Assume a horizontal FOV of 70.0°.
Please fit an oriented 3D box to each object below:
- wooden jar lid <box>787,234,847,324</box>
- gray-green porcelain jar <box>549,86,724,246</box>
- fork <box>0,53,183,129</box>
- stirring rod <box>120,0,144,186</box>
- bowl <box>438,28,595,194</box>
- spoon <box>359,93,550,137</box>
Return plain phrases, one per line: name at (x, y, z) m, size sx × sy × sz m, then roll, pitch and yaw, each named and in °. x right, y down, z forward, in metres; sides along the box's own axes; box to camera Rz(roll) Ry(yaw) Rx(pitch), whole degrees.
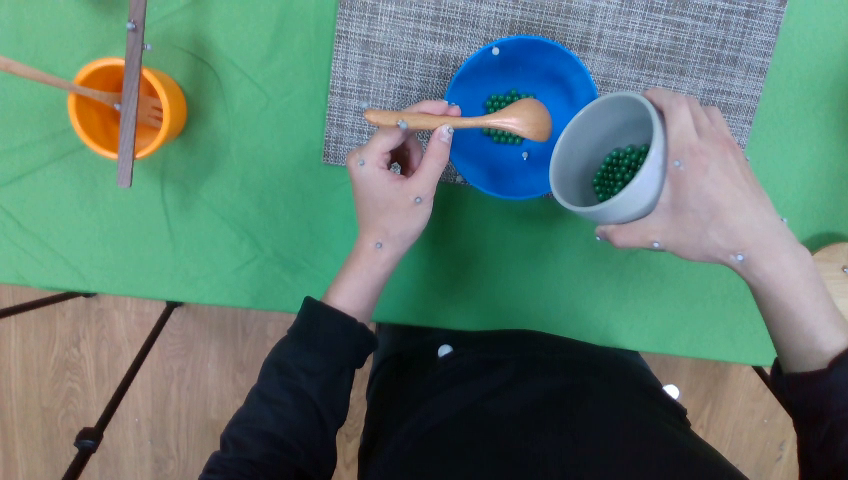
wooden jar lid at (0.472, 0.044, 0.703) m, size 0.108 × 0.020 × 0.109 m, roll -1°, pitch 106°, yaw -2°
gray-green porcelain jar at (0.189, -0.058, 0.527) m, size 0.128 × 0.104 × 0.106 m, roll 22°, pitch 105°, yaw -36°
fork at (-0.315, -0.140, 0.541) m, size 0.209 × 0.018 × 0.028 m, roll 13°, pitch 113°, yaw -51°
stirring rod at (-0.261, -0.135, 0.542) m, size 0.014 × 0.006 × 0.177 m, roll 9°, pitch 105°, yaw -4°
bowl at (0.085, -0.126, 0.599) m, size 0.151 × 0.076 × 0.152 m, roll -1°, pitch 106°, yaw -2°
spoon at (0.034, -0.102, 0.499) m, size 0.194 × 0.021 × 0.041 m, roll -8°, pitch 82°, yaw -30°
